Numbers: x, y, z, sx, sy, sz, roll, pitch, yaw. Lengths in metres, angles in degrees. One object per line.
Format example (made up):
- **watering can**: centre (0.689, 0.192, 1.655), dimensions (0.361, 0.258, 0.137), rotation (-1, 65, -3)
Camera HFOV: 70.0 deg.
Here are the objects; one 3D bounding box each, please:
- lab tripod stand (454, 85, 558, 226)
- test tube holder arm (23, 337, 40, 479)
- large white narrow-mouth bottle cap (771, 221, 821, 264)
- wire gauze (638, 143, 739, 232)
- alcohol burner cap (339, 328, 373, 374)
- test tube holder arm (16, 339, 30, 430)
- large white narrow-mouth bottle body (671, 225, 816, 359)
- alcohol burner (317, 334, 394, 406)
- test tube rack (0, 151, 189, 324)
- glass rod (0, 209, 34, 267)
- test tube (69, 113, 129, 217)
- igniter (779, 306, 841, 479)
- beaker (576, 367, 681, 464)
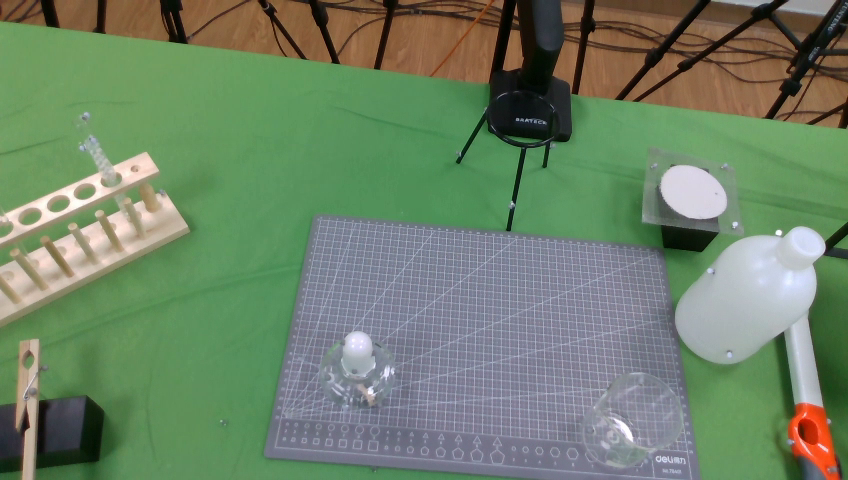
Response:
- **lab tripod stand**: centre (0.110, -0.112, 0.764), dimensions (0.148, 0.132, 0.147), rotation (3, 59, -5)
- **test tube holder arm**: centre (-0.358, 0.171, 0.551), dimensions (0.013, 0.015, 0.176), rotation (-9, 60, -21)
- **large white narrow-mouth bottle cap**: centre (0.354, 0.002, 0.579), dimensions (0.038, 0.024, 0.037), rotation (2, 58, -3)
- **wire gauze**: centre (0.336, -0.067, 0.774), dimensions (0.121, 0.011, 0.124), rotation (12, 57, 2)
- **alcohol burner cap**: centre (-0.065, 0.104, 0.577), dimensions (0.034, 0.048, 0.033), rotation (2, 52, -2)
- **test tube holder arm**: centre (-0.377, 0.135, 0.571), dimensions (0.010, 0.015, 0.087), rotation (-9, 60, -20)
- **large white narrow-mouth bottle body**: centre (0.348, 0.049, 0.650), dimensions (0.102, 0.196, 0.101), rotation (2, 57, -3)
- **alcohol burner**: centre (-0.068, 0.123, 0.608), dimensions (0.078, 0.120, 0.077), rotation (4, 57, -5)
- **test tube rack**: centre (-0.399, 0.000, 0.670), dimensions (0.242, 0.086, 0.066), rotation (-31, 66, -22)
- **glass rod**: centre (-0.432, -0.034, 0.609), dimensions (0.008, 0.201, 0.008), rotation (5, 49, -5)
- **test tube**: centre (-0.349, -0.077, 0.663), dimensions (0.017, 0.151, 0.017), rotation (1, 52, -1)
- **igniter**: centre (0.423, 0.189, 0.670), dimensions (0.057, 0.025, 0.274), rotation (17, 57, -7)
- **beaker**: centre (0.197, 0.180, 0.607), dimensions (0.084, 0.101, 0.073), rotation (3, 57, -3)
